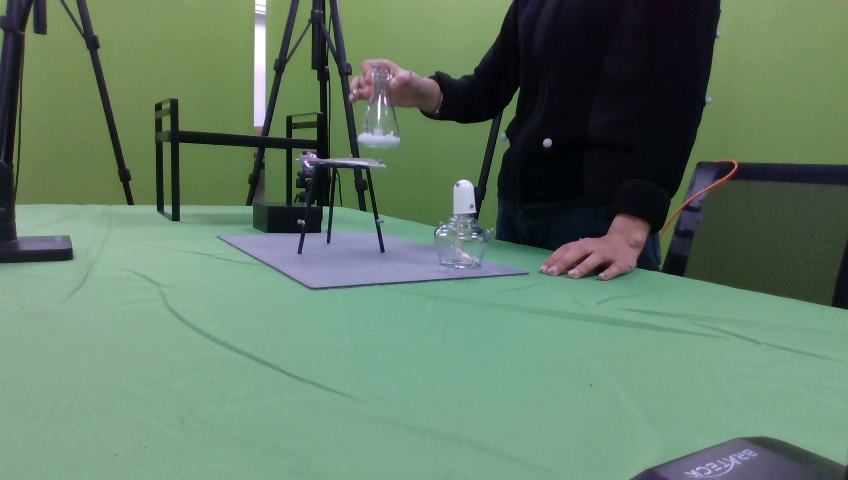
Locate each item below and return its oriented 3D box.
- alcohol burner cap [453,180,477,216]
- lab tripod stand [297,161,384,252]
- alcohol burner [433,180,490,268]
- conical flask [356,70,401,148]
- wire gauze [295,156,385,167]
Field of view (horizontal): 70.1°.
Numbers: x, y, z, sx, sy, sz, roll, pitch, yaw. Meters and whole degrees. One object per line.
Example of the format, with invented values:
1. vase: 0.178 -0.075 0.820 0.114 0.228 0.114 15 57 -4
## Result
1. alcohol burner cap: 0.054 -0.057 0.811 0.034 0.048 0.034 -3 6 1
2. lab tripod stand: -0.130 -0.051 0.903 0.148 0.131 0.148 4 9 0
3. alcohol burner: 0.052 -0.021 0.815 0.078 0.119 0.078 4 7 0
4. conical flask: -0.072 -0.215 0.994 0.075 0.122 0.075 2 4 0
5. wire gauze: -0.128 -0.118 0.901 0.125 0.011 0.121 0 8 -14
